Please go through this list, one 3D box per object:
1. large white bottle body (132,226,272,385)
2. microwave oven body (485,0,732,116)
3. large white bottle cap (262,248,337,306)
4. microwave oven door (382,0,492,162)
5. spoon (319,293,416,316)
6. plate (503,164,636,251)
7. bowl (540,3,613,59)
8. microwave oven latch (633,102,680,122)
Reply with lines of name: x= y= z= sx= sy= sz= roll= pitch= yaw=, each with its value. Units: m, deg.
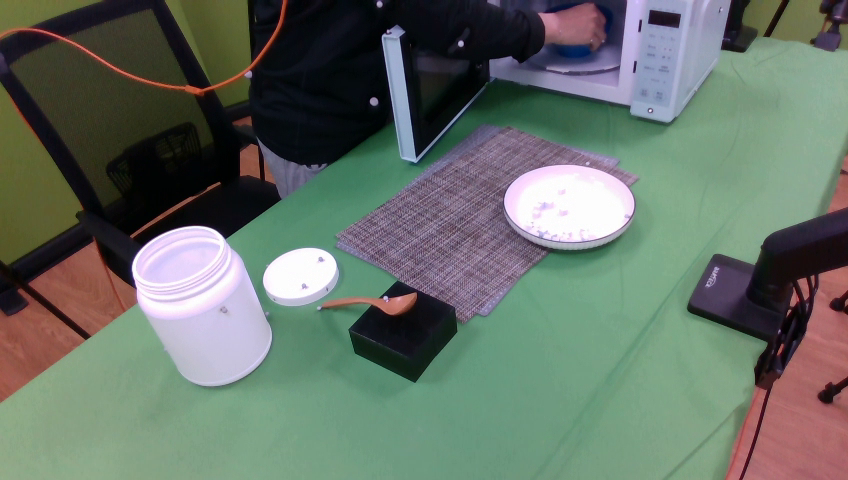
large white bottle body: x=-0.284 y=0.084 z=0.784 sx=0.130 sy=0.185 sz=0.130 roll=-5 pitch=41 yaw=5
microwave oven body: x=0.377 y=-0.463 z=1.267 sx=0.438 sy=0.261 sz=0.327 roll=21 pitch=49 yaw=30
large white bottle cap: x=-0.193 y=0.056 z=0.934 sx=0.115 sy=0.018 sz=0.114 roll=-5 pitch=41 yaw=4
microwave oven door: x=0.040 y=-0.347 z=1.173 sx=0.039 sy=0.245 sz=0.356 roll=15 pitch=45 yaw=25
spoon: x=-0.082 y=0.086 z=0.826 sx=0.192 sy=0.022 sz=0.041 roll=-3 pitch=37 yaw=41
plate: x=0.232 y=-0.051 z=0.976 sx=0.209 sy=0.038 sz=0.208 roll=-3 pitch=41 yaw=3
bowl: x=0.325 y=-0.442 z=1.297 sx=0.151 sy=0.077 sz=0.150 roll=-4 pitch=42 yaw=4
microwave oven latch: x=0.443 y=-0.249 z=1.157 sx=0.078 sy=0.029 sz=0.030 roll=21 pitch=49 yaw=30
